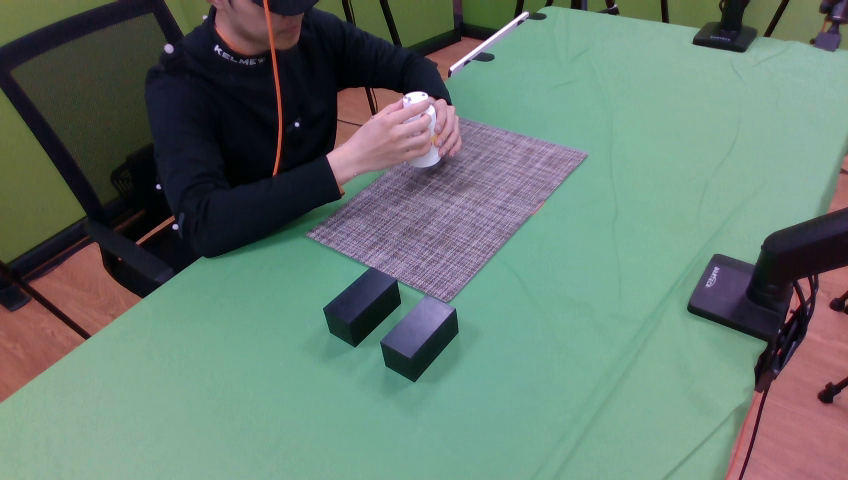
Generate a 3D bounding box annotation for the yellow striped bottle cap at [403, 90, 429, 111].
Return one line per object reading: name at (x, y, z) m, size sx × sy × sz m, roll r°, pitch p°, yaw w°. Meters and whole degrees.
yellow striped bottle cap at (-0.014, -0.237, 1.026) m, size 0.044 × 0.019 × 0.044 m, roll -5°, pitch 39°, yaw 4°

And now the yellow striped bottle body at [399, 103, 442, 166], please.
yellow striped bottle body at (-0.007, -0.196, 1.058) m, size 0.063 × 0.121 × 0.062 m, roll -7°, pitch 38°, yaw 6°
